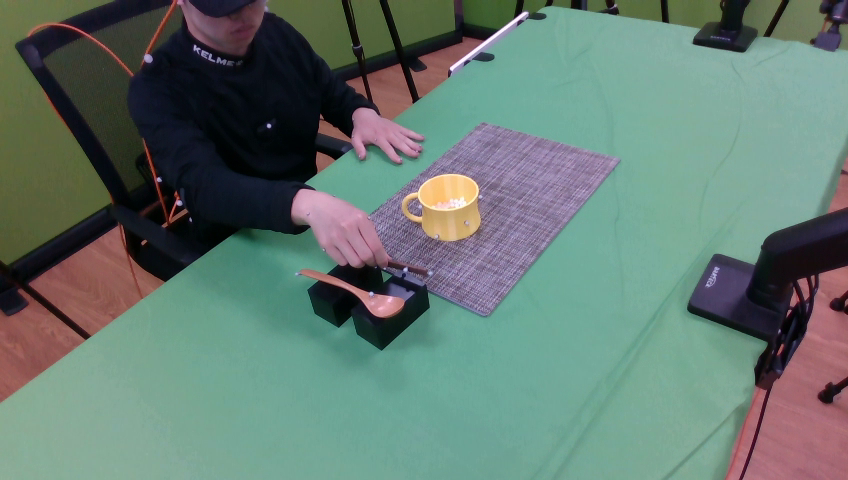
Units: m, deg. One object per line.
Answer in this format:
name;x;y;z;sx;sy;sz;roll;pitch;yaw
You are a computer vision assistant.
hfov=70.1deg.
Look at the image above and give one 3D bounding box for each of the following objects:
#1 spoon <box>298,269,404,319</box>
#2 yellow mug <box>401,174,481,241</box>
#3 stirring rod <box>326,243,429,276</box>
spoon;-0.106;0.068;0.830;0.192;0.022;0.042;21;48;32
yellow mug;0.026;-0.054;0.989;0.130;0.064;0.099;-1;41;8
stirring rod;-0.069;0.027;0.862;0.175;0.014;0.006;13;56;28
